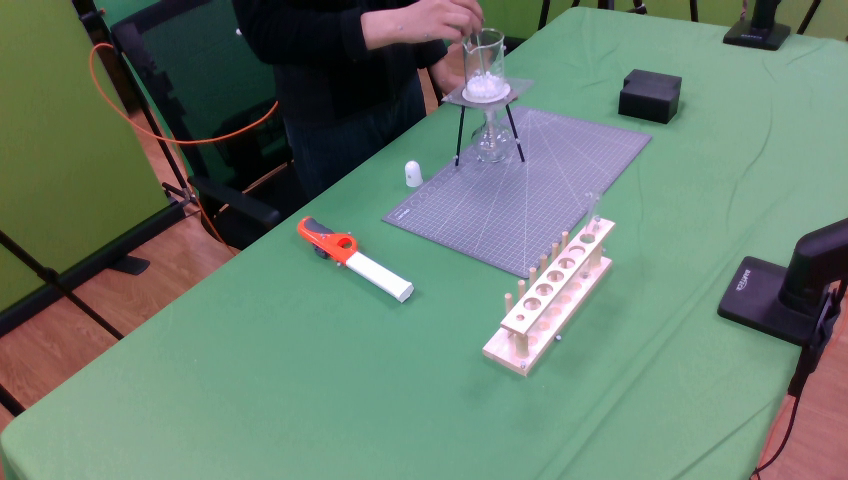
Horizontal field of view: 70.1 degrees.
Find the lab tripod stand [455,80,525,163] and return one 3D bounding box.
[{"bbox_3d":[0.120,-0.220,1.126,0.148,0.132,0.147,-4,40,4],"label":"lab tripod stand"}]

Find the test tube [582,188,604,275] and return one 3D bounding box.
[{"bbox_3d":[0.229,-0.007,0.821,0.017,0.151,0.017,-3,42,3],"label":"test tube"}]

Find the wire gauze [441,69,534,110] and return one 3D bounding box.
[{"bbox_3d":[0.114,-0.268,1.082,0.120,0.011,0.125,22,47,29],"label":"wire gauze"}]

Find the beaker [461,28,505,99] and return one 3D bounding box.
[{"bbox_3d":[0.102,-0.303,1.051,0.073,0.101,0.084,19,48,29],"label":"beaker"}]

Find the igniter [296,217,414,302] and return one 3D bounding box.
[{"bbox_3d":[-0.121,0.025,0.970,0.274,0.025,0.057,29,63,37],"label":"igniter"}]

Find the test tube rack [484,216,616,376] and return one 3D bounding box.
[{"bbox_3d":[0.174,0.064,0.823,0.066,0.085,0.243,23,49,32],"label":"test tube rack"}]

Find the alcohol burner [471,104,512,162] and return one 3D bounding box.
[{"bbox_3d":[0.125,-0.207,1.126,0.078,0.119,0.077,-5,43,5],"label":"alcohol burner"}]

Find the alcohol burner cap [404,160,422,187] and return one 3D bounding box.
[{"bbox_3d":[-0.022,-0.125,1.118,0.034,0.048,0.033,-4,41,4],"label":"alcohol burner cap"}]

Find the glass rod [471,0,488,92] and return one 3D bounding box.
[{"bbox_3d":[0.091,-0.335,0.998,0.008,0.201,0.008,-8,42,8],"label":"glass rod"}]
